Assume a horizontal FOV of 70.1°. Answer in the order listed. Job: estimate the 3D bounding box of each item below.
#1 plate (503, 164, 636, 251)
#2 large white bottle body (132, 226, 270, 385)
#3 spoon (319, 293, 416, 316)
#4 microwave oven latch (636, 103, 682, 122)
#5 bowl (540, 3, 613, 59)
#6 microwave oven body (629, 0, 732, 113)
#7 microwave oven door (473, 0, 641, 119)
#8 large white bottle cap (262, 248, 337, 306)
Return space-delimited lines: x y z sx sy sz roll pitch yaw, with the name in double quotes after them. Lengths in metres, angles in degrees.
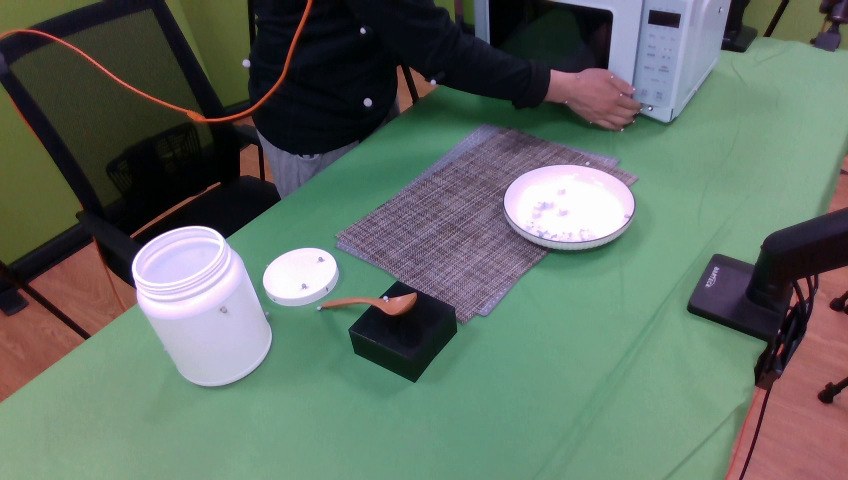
0.231 -0.050 0.976 0.209 0.038 0.208 -3 41 3 "plate"
-0.286 0.085 0.784 0.130 0.185 0.130 -4 41 4 "large white bottle body"
-0.082 0.086 0.826 0.192 0.022 0.041 -3 37 41 "spoon"
0.450 -0.252 1.159 0.030 0.029 0.078 -34 47 -26 "microwave oven latch"
0.324 -0.441 1.298 0.151 0.077 0.150 -4 41 4 "bowl"
0.377 -0.463 1.267 0.438 0.261 0.327 21 49 30 "microwave oven body"
0.253 -0.392 1.195 0.353 0.245 0.039 23 49 31 "microwave oven door"
-0.193 0.056 0.934 0.115 0.018 0.114 -5 41 4 "large white bottle cap"
